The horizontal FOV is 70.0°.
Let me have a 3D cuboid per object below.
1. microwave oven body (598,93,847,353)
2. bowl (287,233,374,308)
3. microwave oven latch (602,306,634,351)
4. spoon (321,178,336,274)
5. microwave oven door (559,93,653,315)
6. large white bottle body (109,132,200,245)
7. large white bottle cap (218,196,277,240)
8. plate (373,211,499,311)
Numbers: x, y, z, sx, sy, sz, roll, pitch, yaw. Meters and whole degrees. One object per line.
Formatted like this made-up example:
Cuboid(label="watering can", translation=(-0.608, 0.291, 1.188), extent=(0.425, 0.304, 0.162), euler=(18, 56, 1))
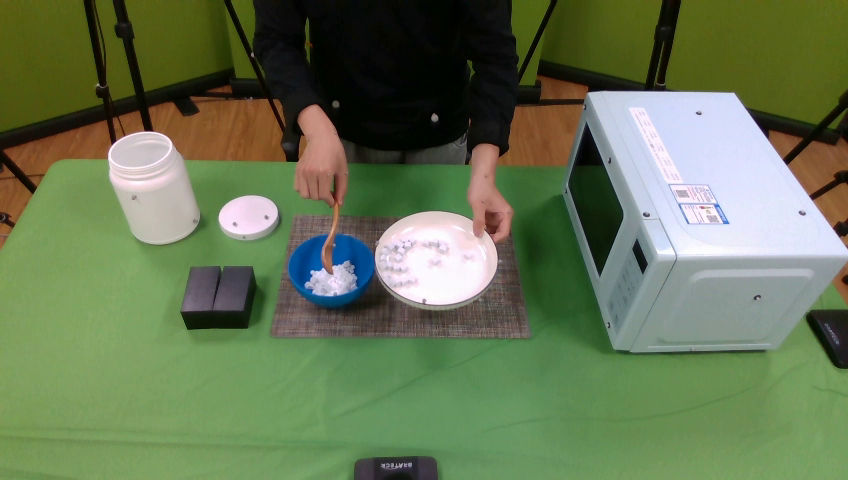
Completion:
Cuboid(label="microwave oven body", translation=(0.475, -0.041, 1.109), extent=(0.326, 0.261, 0.438), euler=(-1, 45, -4))
Cuboid(label="bowl", translation=(-0.165, 0.068, 1.078), extent=(0.151, 0.077, 0.150), euler=(3, 46, -3))
Cuboid(label="microwave oven latch", translation=(0.332, 0.153, 1.044), extent=(0.030, 0.029, 0.078), euler=(0, 45, -3))
Cuboid(label="spoon", translation=(-0.165, -0.027, 1.055), extent=(0.021, 0.042, 0.192), euler=(-12, 60, 17))
Cuboid(label="microwave oven door", translation=(0.327, -0.074, 1.123), extent=(0.039, 0.245, 0.353), euler=(-1, 46, -5))
Cuboid(label="large white bottle body", translation=(-0.506, -0.097, 1.141), extent=(0.131, 0.185, 0.130), euler=(2, 46, -2))
Cuboid(label="large white bottle cap", translation=(-0.354, -0.045, 1.220), extent=(0.115, 0.018, 0.114), euler=(2, 45, -2))
Cuboid(label="plate", translation=(0.019, 0.037, 1.017), extent=(0.209, 0.038, 0.208), euler=(0, 49, 0))
